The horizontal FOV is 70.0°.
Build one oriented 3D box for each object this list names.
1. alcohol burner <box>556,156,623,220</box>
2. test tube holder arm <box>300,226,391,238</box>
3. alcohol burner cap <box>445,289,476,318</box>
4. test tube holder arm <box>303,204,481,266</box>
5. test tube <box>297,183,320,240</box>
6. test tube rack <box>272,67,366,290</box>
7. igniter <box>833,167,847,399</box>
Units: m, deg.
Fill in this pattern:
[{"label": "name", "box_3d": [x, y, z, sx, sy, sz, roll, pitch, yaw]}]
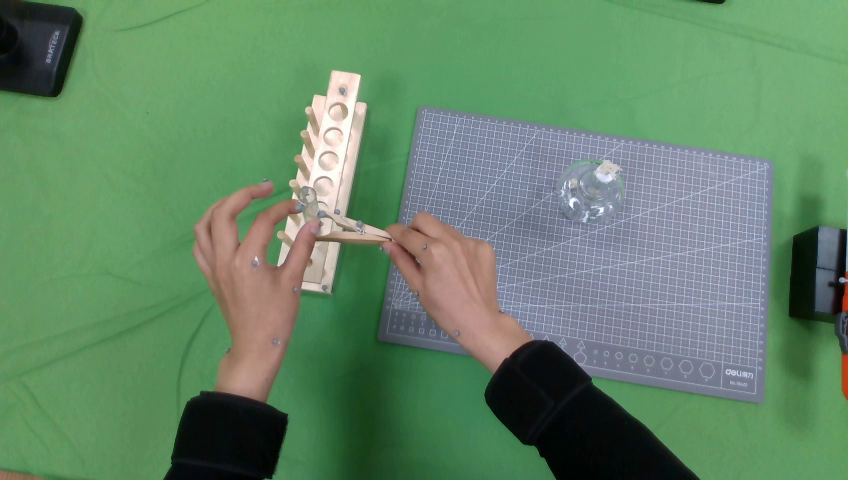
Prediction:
[{"label": "alcohol burner", "box_3d": [0.192, -0.064, 0.687, 0.078, 0.119, 0.077, 0, 78, 1]}, {"label": "test tube holder arm", "box_3d": [-0.076, -0.008, 0.585, 0.088, 0.015, 0.010, 0, 79, 4]}, {"label": "alcohol burner cap", "box_3d": [0.043, 0.070, 0.691, 0.034, 0.048, 0.033, 1, 77, -4]}, {"label": "test tube holder arm", "box_3d": [-0.031, -0.005, 0.582, 0.178, 0.015, 0.013, 15, 82, 6]}, {"label": "test tube", "box_3d": [-0.107, -0.023, 0.570, 0.017, 0.150, 0.017, 2, 77, -8]}, {"label": "test tube rack", "box_3d": [-0.124, -0.071, 0.698, 0.067, 0.085, 0.241, 9, 78, 1]}, {"label": "igniter", "box_3d": [0.483, 0.047, 0.669, 0.057, 0.025, 0.275, 12, 75, -1]}]
